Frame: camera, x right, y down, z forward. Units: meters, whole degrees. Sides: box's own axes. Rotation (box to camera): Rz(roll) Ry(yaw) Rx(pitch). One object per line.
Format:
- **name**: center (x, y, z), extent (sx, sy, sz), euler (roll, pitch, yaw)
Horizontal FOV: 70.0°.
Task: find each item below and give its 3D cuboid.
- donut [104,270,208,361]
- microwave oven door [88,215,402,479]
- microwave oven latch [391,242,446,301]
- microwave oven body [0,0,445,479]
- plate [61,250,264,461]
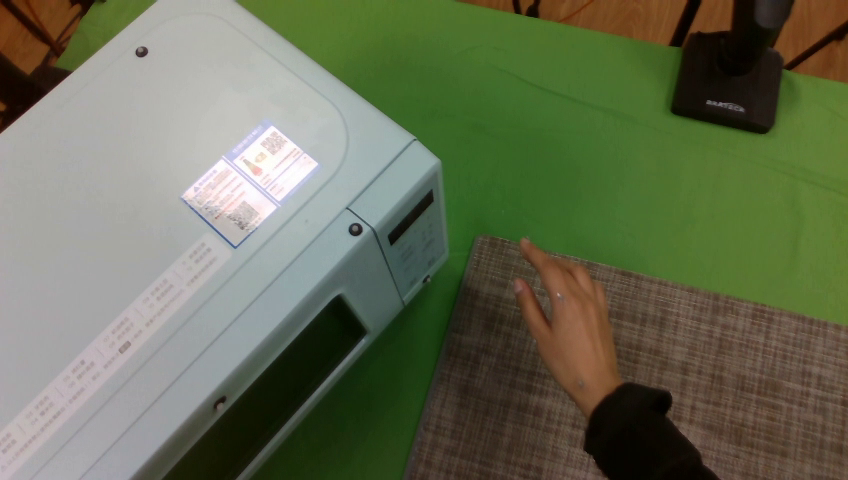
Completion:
- **donut**: center (-0.270, 0.076, 0.615), extent (0.099, 0.048, 0.098), euler (3, 56, -5)
- **microwave oven door**: center (-0.160, 0.150, 0.527), extent (0.039, 0.245, 0.355), euler (38, 77, 16)
- **microwave oven latch**: center (-0.008, 0.029, 0.670), extent (0.030, 0.030, 0.079), euler (39, 78, 15)
- **microwave oven body**: center (-0.243, 0.034, 0.579), extent (0.324, 0.262, 0.441), euler (39, 78, 15)
- **plate**: center (-0.251, 0.111, 0.596), extent (0.209, 0.038, 0.207), euler (-5, 65, 10)
